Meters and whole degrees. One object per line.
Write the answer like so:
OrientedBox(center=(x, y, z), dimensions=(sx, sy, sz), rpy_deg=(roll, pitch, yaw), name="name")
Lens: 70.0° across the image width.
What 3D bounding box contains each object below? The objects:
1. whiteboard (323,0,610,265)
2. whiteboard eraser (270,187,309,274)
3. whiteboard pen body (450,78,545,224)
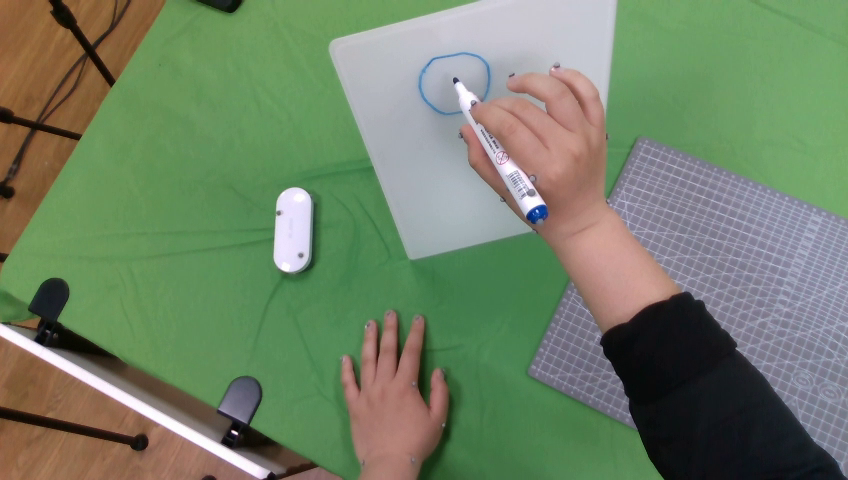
OrientedBox(center=(0.047, -0.138, 0.595), dimensions=(0.217, 0.308, 0.142), rpy_deg=(-14, 55, 3), name="whiteboard")
OrientedBox(center=(-0.155, -0.011, 0.699), dimensions=(0.041, 0.019, 0.101), rpy_deg=(-2, 77, 4), name="whiteboard eraser")
OrientedBox(center=(0.048, -0.069, 0.430), dimensions=(0.017, 0.017, 0.139), rpy_deg=(-26, 61, 0), name="whiteboard pen body")
